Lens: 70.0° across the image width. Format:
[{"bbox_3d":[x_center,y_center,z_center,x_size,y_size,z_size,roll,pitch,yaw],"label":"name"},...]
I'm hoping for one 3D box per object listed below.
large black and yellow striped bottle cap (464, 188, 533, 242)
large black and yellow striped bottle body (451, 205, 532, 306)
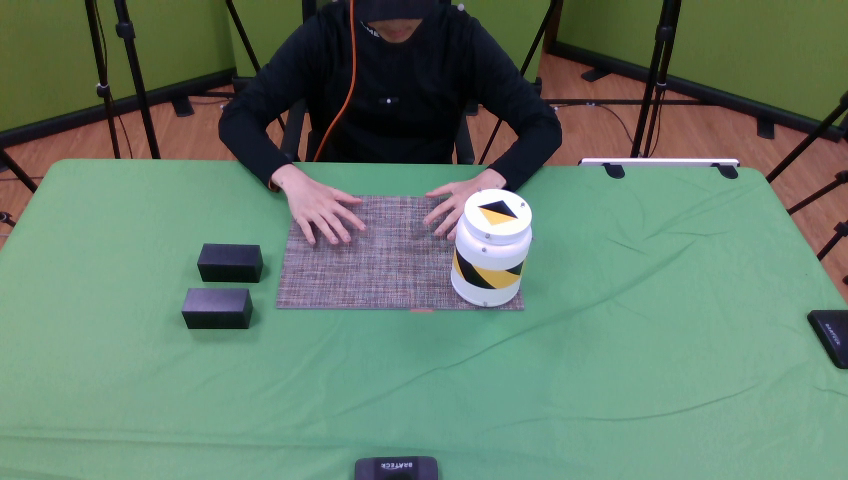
[{"bbox_3d":[0.124,-0.044,1.014,0.115,0.019,0.114,2,47,-1],"label":"large black and yellow striped bottle cap"},{"bbox_3d":[0.119,0.014,1.074,0.131,0.185,0.130,2,46,-2],"label":"large black and yellow striped bottle body"}]
